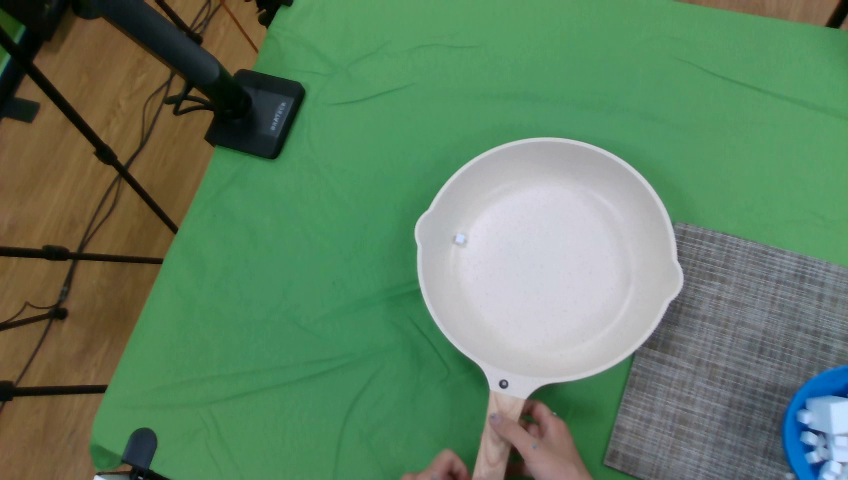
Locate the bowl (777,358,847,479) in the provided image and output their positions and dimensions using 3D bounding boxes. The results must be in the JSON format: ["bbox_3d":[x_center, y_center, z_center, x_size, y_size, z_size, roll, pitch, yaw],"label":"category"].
[{"bbox_3d":[0.428,0.198,0.610,0.151,0.077,0.150,-3,73,10],"label":"bowl"}]

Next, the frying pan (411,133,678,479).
[{"bbox_3d":[0.105,0.110,0.684,0.306,0.103,0.485,13,68,14],"label":"frying pan"}]
